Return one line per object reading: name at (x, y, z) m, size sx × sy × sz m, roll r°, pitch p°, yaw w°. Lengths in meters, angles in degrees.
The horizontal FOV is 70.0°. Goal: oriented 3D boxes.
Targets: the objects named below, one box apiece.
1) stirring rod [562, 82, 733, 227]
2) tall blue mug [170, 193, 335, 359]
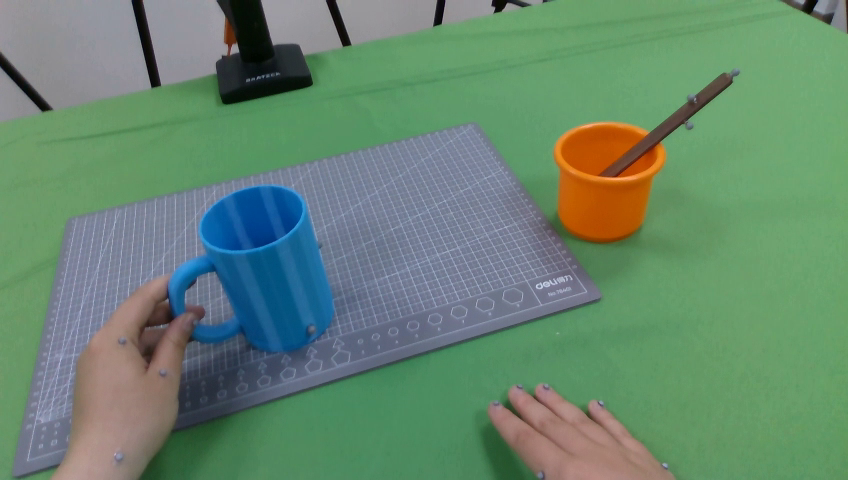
stirring rod at (0.188, -0.070, 0.523) m, size 0.176 × 0.006 × 0.014 m, roll -43°, pitch 38°, yaw 24°
tall blue mug at (-0.123, 0.038, 0.457) m, size 0.077 × 0.109 × 0.107 m, roll 16°, pitch 46°, yaw 23°
